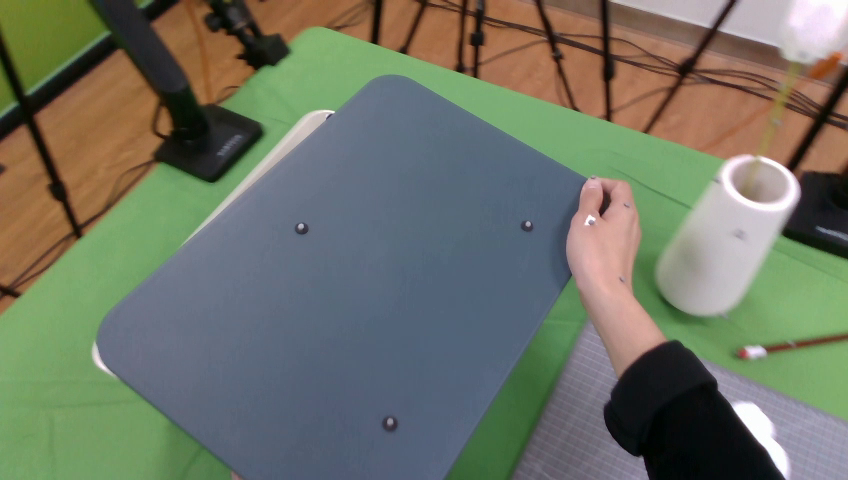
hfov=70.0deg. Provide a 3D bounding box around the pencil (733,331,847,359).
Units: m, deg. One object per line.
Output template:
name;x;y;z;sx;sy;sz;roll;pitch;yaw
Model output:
pencil;0.443;0.113;0.685;0.194;0.012;0.012;-9;55;-5

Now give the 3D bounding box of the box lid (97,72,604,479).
box lid;-0.035;0.019;0.493;0.262;0.015;0.370;33;61;11

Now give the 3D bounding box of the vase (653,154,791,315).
vase;0.317;-0.001;0.655;0.098;0.202;0.097;-1;54;2

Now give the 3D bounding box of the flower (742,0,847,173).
flower;0.313;-0.061;0.596;0.044;0.365;0.038;17;40;18

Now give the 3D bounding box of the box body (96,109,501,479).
box body;-0.103;0.062;0.650;0.253;0.162;0.362;23;59;17
